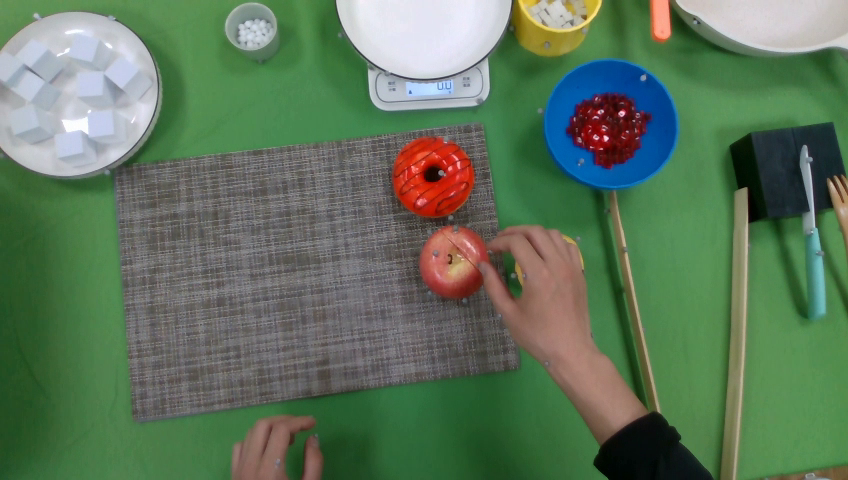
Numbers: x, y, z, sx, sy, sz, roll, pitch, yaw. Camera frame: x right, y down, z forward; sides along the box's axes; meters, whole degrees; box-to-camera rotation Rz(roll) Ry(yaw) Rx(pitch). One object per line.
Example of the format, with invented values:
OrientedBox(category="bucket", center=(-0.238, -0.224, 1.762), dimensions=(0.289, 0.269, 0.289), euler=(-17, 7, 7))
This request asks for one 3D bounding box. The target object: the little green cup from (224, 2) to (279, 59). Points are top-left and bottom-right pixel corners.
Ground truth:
OrientedBox(category="little green cup", center=(-0.208, -0.254, 0.741), dimensions=(0.061, 0.039, 0.061), euler=(0, 82, 0))

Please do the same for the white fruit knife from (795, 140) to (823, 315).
OrientedBox(category="white fruit knife", center=(0.442, -0.011, 0.699), dimensions=(0.016, 0.027, 0.208), euler=(-10, 97, -2))

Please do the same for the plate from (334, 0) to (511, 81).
OrientedBox(category="plate", center=(-0.001, -0.285, 0.719), dimensions=(0.209, 0.038, 0.208), euler=(0, 82, -1))

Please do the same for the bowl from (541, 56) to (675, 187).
OrientedBox(category="bowl", center=(0.205, -0.128, 0.711), dimensions=(0.151, 0.077, 0.151), euler=(0, 83, -1))

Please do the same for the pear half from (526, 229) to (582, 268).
OrientedBox(category="pear half", center=(0.151, 0.005, 0.687), dimensions=(0.070, 0.088, 0.031), euler=(23, 83, 5))

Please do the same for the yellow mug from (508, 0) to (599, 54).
OrientedBox(category="yellow mug", center=(0.146, -0.299, 0.738), dimensions=(0.100, 0.064, 0.130), euler=(-40, 84, -5))

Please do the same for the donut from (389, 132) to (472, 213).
OrientedBox(category="donut", center=(0.007, -0.079, 0.715), dimensions=(0.099, 0.048, 0.099), euler=(0, 83, 1))

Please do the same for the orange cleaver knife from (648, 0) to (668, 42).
OrientedBox(category="orange cleaver knife", center=(0.285, -0.335, 0.708), dimensions=(0.077, 0.012, 0.210), euler=(-3, 83, 2))

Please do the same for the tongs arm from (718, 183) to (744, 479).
OrientedBox(category="tongs arm", center=(0.353, 0.122, 0.707), dimensions=(0.028, 0.028, 0.386), euler=(8, 83, -8))

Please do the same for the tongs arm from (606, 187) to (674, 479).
OrientedBox(category="tongs arm", center=(0.267, 0.125, 0.701), dimensions=(0.051, 0.026, 0.383), euler=(-7, 84, -6))

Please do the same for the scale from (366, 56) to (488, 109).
OrientedBox(category="scale", center=(0.000, -0.265, 0.749), dimensions=(0.149, 0.031, 0.200), euler=(-3, 83, -1))

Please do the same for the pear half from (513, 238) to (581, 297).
OrientedBox(category="pear half", center=(0.135, 0.034, 0.673), dimensions=(0.076, 0.110, 0.056), euler=(24, 83, 6))

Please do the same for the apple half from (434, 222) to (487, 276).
OrientedBox(category="apple half", center=(0.049, 0.004, 0.688), dimensions=(0.033, 0.081, 0.081), euler=(-44, 85, -2))

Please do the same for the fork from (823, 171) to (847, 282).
OrientedBox(category="fork", center=(0.496, 0.021, 0.703), dimensions=(0.028, 0.018, 0.208), euler=(-17, 99, -5))

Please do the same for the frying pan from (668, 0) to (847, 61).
OrientedBox(category="frying pan", center=(0.476, -0.278, 0.721), dimensions=(0.307, 0.103, 0.485), euler=(-34, 76, -4))

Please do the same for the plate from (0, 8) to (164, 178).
OrientedBox(category="plate", center=(-0.414, -0.173, 0.728), dimensions=(0.208, 0.039, 0.207), euler=(0, 82, -1))

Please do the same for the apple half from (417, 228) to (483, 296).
OrientedBox(category="apple half", center=(0.022, 0.032, 0.686), dimensions=(0.053, 0.075, 0.080), euler=(-43, 87, -3))
